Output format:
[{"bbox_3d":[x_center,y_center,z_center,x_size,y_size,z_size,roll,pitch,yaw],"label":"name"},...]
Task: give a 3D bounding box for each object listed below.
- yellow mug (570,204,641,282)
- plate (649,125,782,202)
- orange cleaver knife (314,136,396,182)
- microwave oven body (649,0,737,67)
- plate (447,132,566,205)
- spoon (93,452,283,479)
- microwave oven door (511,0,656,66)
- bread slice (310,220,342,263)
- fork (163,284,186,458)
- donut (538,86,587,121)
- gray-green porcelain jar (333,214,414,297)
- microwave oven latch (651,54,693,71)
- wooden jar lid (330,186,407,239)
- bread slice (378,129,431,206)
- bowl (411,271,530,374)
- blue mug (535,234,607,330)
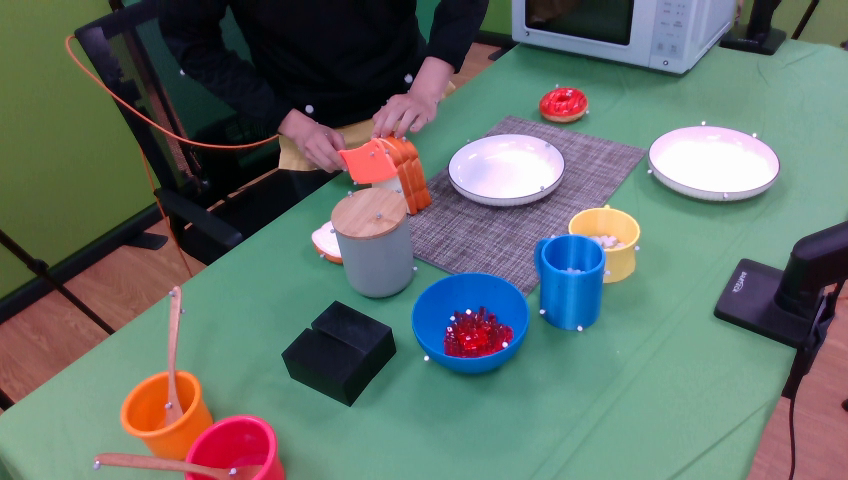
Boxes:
[{"bbox_3d":[0.268,-0.005,0.904,0.099,0.064,0.130,7,41,15],"label":"yellow mug"},{"bbox_3d":[0.493,-0.127,1.036,0.207,0.039,0.206,-4,40,4],"label":"plate"},{"bbox_3d":[-0.121,-0.135,1.038,0.012,0.077,0.209,-36,25,-34],"label":"orange cleaver knife"},{"bbox_3d":[0.475,-0.602,1.411,0.438,0.261,0.327,23,50,32],"label":"microwave oven body"},{"bbox_3d":[0.146,-0.124,1.076,0.209,0.038,0.208,-3,41,3],"label":"plate"},{"bbox_3d":[-0.240,0.239,0.632,0.195,0.021,0.041,26,33,-32],"label":"spoon"},{"bbox_3d":[0.350,-0.539,1.349,0.353,0.245,0.039,24,50,31],"label":"microwave oven door"},{"bbox_3d":[-0.122,-0.009,1.001,0.104,0.019,0.132,31,47,33],"label":"bread slice"},{"bbox_3d":[-0.302,0.157,0.733,0.028,0.019,0.207,-3,84,15],"label":"fork"},{"bbox_3d":[0.283,-0.280,1.239,0.099,0.048,0.098,-5,42,5],"label":"donut"},{"bbox_3d":[-0.071,0.012,0.887,0.106,0.127,0.105,-4,41,4],"label":"gray-green porcelain jar"},{"bbox_3d":[0.531,-0.386,1.301,0.078,0.029,0.030,26,51,33],"label":"microwave oven latch"},{"bbox_3d":[-0.077,-0.035,0.846,0.108,0.021,0.108,-5,41,5],"label":"wooden jar lid"},{"bbox_3d":[-0.036,-0.126,1.041,0.018,0.135,0.106,-37,50,-25],"label":"bread slice"},{"bbox_3d":[0.062,0.120,0.780,0.151,0.077,0.150,-4,40,4],"label":"bowl"},{"bbox_3d":[0.191,0.048,0.824,0.082,0.106,0.115,-26,44,-20],"label":"blue mug"}]
